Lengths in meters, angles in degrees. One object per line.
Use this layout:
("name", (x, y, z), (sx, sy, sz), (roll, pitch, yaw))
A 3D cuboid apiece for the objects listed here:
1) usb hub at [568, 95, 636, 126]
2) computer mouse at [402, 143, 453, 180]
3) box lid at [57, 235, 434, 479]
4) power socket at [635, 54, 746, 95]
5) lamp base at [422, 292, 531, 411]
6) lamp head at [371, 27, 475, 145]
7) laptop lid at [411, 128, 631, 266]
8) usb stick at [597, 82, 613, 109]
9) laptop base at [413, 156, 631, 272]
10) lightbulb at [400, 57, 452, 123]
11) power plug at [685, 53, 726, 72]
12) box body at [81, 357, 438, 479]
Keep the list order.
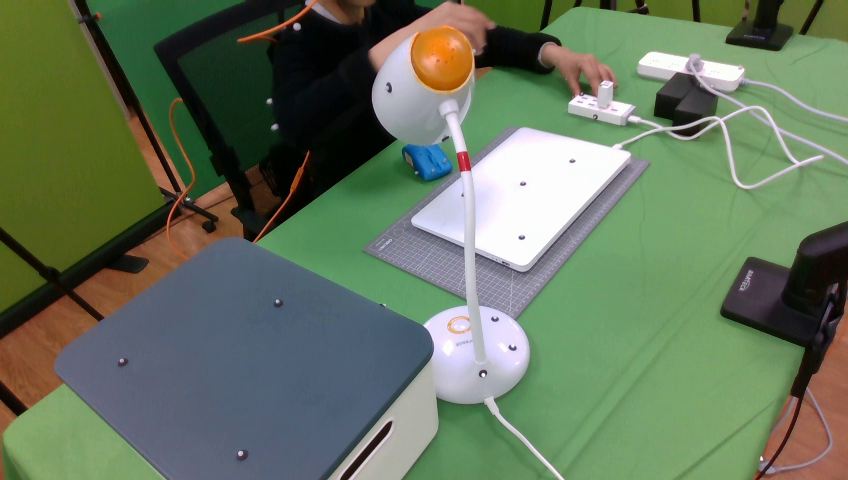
("usb hub", (0.360, -0.263, 1.228), (0.124, 0.025, 0.049), (24, 49, 34))
("computer mouse", (0.006, -0.159, 1.166), (0.063, 0.041, 0.116), (-21, 45, -16))
("box lid", (-0.198, 0.123, 0.653), (0.368, 0.015, 0.264), (22, 49, 32))
("power socket", (0.564, -0.357, 1.293), (0.225, 0.033, 0.072), (24, 51, 33))
("lamp base", (0.055, 0.095, 0.740), (0.161, 0.181, 0.177), (-19, 43, -11))
("lamp head", (0.007, -0.167, 0.644), (0.113, 0.112, 0.122), (-22, 2, -14))
("laptop lid", (0.172, -0.093, 1.049), (0.239, 0.013, 0.358), (23, 50, 36))
("usb stick", (0.360, -0.281, 1.204), (0.021, 0.059, 0.027), (23, 49, 33))
("laptop base", (0.176, -0.084, 1.055), (0.233, 0.023, 0.355), (21, 48, 36))
("lightbulb", (0.004, -0.169, 0.668), (0.059, 0.107, 0.059), (1, 79, -3))
("power plug", (0.584, -0.361, 1.260), (0.072, 0.053, 0.035), (14, 55, 16))
("box body", (-0.189, 0.179, 0.702), (0.361, 0.161, 0.255), (22, 49, 32))
